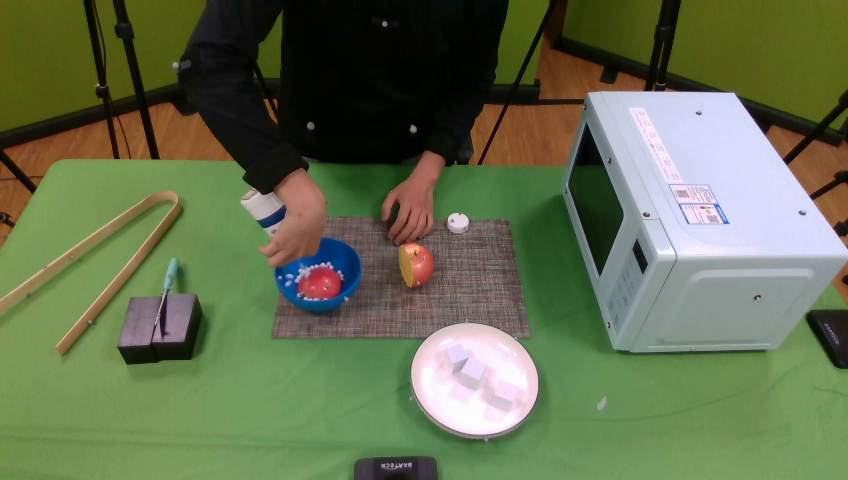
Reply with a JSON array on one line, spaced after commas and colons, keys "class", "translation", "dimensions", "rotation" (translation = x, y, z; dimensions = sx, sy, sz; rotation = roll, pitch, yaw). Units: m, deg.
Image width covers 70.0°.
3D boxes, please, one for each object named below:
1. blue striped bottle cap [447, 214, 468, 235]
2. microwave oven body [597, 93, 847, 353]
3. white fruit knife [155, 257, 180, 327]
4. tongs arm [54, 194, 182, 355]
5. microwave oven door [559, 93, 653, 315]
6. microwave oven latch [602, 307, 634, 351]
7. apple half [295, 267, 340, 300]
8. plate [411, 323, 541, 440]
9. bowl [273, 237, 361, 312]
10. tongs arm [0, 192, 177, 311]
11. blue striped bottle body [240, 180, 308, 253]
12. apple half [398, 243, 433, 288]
[{"class": "blue striped bottle cap", "translation": [0.069, -0.033, 1.239], "dimensions": [0.044, 0.021, 0.044], "rotation": [1, 47, -1]}, {"class": "microwave oven body", "translation": [0.475, -0.041, 1.109], "dimensions": [0.326, 0.261, 0.438], "rotation": [-1, 45, -4]}, {"class": "white fruit knife", "translation": [-0.440, 0.085, 1.037], "dimensions": [0.016, 0.027, 0.206], "rotation": [10, 26, -19]}, {"class": "tongs arm", "translation": [-0.543, 0.049, 1.108], "dimensions": [0.028, 0.028, 0.385], "rotation": [12, 46, 9]}, {"class": "microwave oven door", "translation": [0.327, -0.074, 1.123], "dimensions": [0.039, 0.245, 0.353], "rotation": [-1, 46, -5]}, {"class": "microwave oven latch", "translation": [0.332, 0.153, 1.044], "dimensions": [0.030, 0.029, 0.078], "rotation": [-1, 45, -4]}, {"class": "apple half", "translation": [-0.187, 0.071, 1.067], "dimensions": [0.081, 0.033, 0.081], "rotation": [3, 47, -3]}, {"class": "plate", "translation": [0.082, 0.228, 0.976], "dimensions": [0.208, 0.039, 0.206], "rotation": [2, 45, -2]}, {"class": "bowl", "translation": [-0.186, 0.075, 1.069], "dimensions": [0.151, 0.077, 0.150], "rotation": [3, 45, -3]}, {"class": "tongs arm", "translation": [-0.618, 0.019, 1.124], "dimensions": [0.050, 0.026, 0.384], "rotation": [24, 47, 16]}, {"class": "blue striped bottle body", "translation": [-0.244, -0.036, 1.010], "dimensions": [0.063, 0.121, 0.063], "rotation": [-28, 26, 15]}, {"class": "apple half", "translation": [-0.011, 0.046, 1.115], "dimensions": [0.053, 0.075, 0.080], "rotation": [-11, 44, -19]}]
